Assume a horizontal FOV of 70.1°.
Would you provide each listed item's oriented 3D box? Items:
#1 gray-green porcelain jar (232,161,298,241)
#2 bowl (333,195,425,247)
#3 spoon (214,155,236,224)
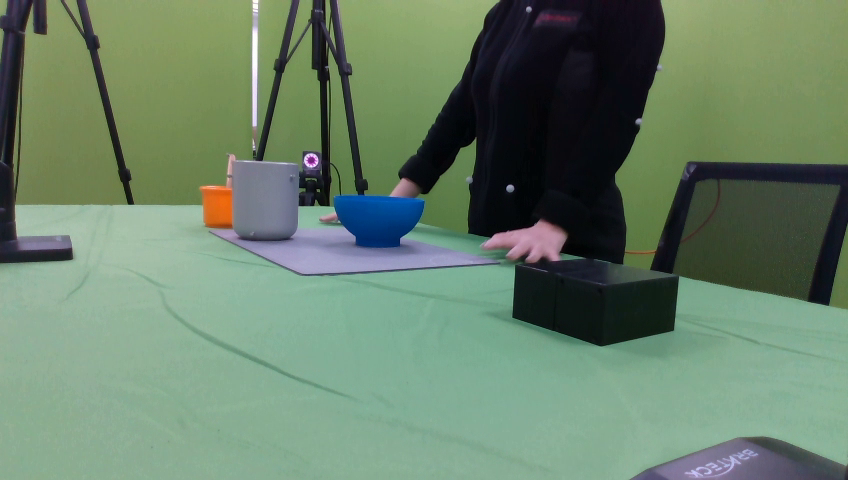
[{"bbox_3d":[-0.262,-0.065,0.999,0.106,0.126,0.106,3,7,0],"label":"gray-green porcelain jar"},{"bbox_3d":[-0.074,-0.031,0.987,0.151,0.077,0.151,2,7,0],"label":"bowl"},{"bbox_3d":[-0.385,-0.104,1.194,0.042,0.193,0.021,2,-37,-12],"label":"spoon"}]
